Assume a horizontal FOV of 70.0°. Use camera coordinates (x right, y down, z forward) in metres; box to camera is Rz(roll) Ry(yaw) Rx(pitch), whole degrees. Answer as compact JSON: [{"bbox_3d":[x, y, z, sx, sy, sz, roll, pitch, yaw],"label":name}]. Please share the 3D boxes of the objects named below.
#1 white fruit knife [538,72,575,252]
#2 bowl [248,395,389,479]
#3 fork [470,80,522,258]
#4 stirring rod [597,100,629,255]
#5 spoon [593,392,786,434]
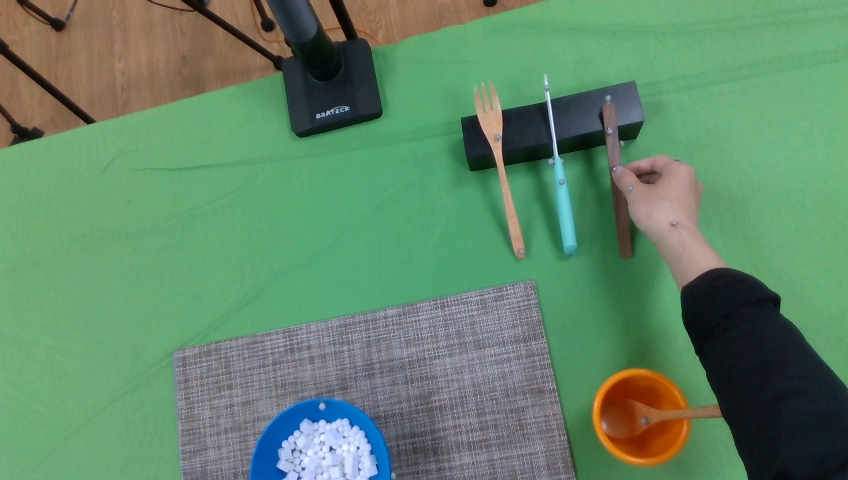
[{"bbox_3d":[0.147,-0.087,0.686,0.016,0.027,0.207,-10,93,6],"label":"white fruit knife"},{"bbox_3d":[-0.103,0.244,0.654,0.151,0.077,0.150,-2,77,9],"label":"bowl"},{"bbox_3d":[0.085,-0.079,0.695,0.028,0.018,0.207,-13,96,3],"label":"fork"},{"bbox_3d":[0.214,-0.069,0.682,0.014,0.006,0.176,-9,96,5],"label":"stirring rod"},{"bbox_3d":[0.246,0.164,0.583,0.022,0.193,0.041,2,73,-36],"label":"spoon"}]
